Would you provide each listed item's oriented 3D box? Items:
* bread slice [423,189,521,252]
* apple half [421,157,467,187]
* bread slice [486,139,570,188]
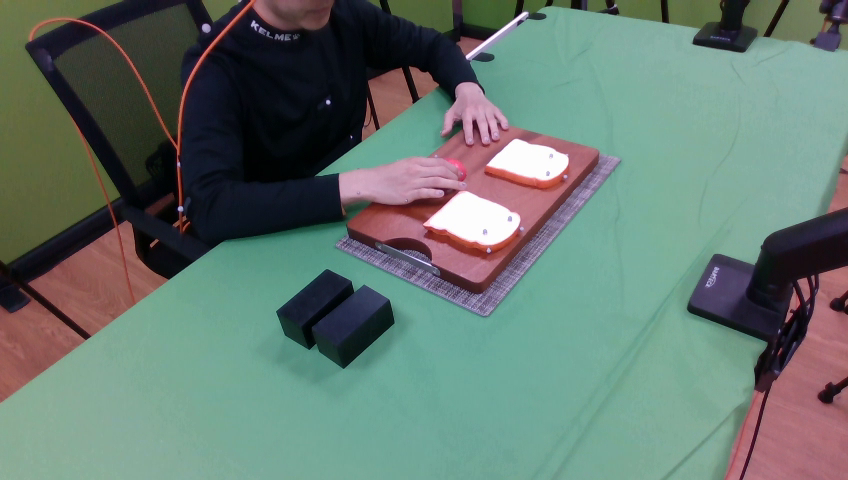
[{"bbox_3d":[0.084,-0.029,0.949,0.133,0.018,0.107,22,49,28],"label":"bread slice"},{"bbox_3d":[0.035,-0.129,1.061,0.081,0.033,0.081,-4,42,4],"label":"apple half"},{"bbox_3d":[0.189,-0.135,1.059,0.130,0.019,0.105,21,49,30],"label":"bread slice"}]
